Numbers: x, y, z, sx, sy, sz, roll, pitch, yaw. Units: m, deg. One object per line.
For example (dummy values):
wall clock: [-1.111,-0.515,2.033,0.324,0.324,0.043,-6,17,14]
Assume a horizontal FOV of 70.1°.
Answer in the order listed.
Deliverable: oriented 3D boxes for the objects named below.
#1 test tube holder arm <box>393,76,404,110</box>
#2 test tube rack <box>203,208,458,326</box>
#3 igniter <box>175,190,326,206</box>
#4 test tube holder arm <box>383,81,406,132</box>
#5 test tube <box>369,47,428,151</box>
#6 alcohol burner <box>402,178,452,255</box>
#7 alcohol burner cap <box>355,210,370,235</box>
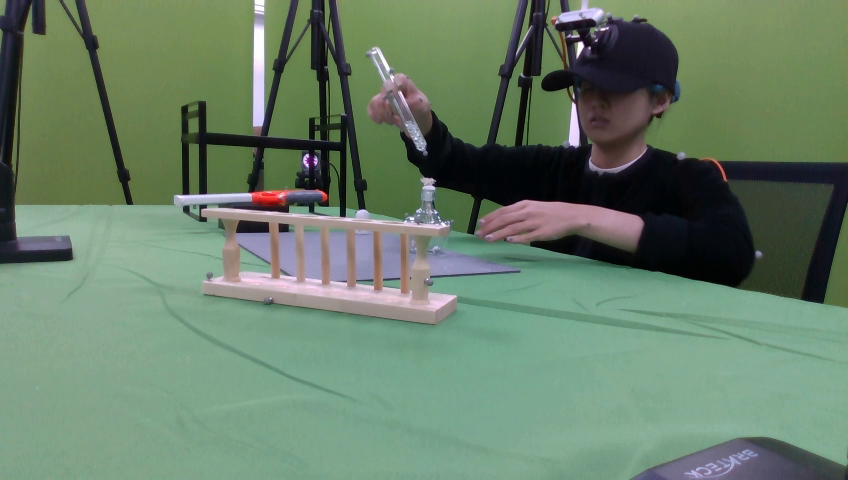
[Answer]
test tube holder arm: [-0.036,-0.197,0.820,0.010,0.015,0.088,-26,-8,-9]
test tube rack: [-0.090,0.019,0.579,0.241,0.085,0.067,5,7,19]
igniter: [-0.315,-0.079,1.128,0.278,0.025,0.057,-5,13,-34]
test tube holder arm: [-0.041,-0.188,0.864,0.013,0.015,0.178,-26,-8,-1]
test tube: [-0.033,-0.185,0.796,0.017,0.150,0.017,-27,-1,0]
alcohol burner: [0.005,-0.036,0.923,0.078,0.119,0.078,5,7,0]
alcohol burner cap: [-0.116,-0.033,1.136,0.034,0.048,0.034,2,7,0]
